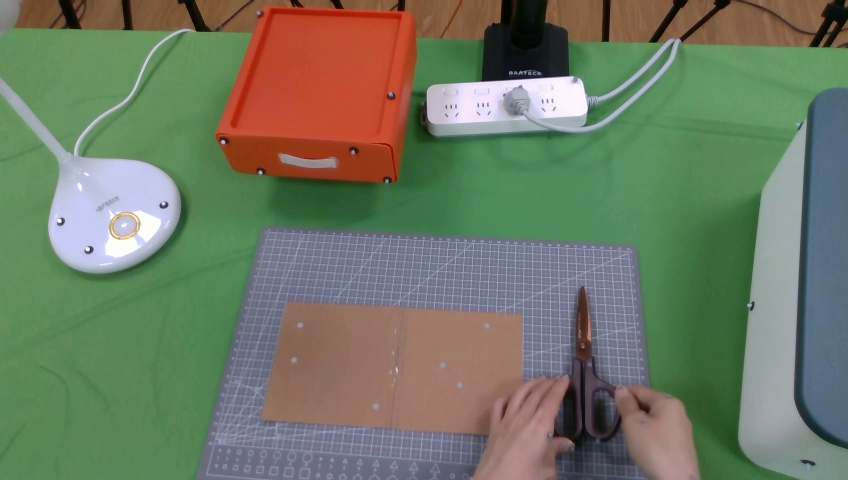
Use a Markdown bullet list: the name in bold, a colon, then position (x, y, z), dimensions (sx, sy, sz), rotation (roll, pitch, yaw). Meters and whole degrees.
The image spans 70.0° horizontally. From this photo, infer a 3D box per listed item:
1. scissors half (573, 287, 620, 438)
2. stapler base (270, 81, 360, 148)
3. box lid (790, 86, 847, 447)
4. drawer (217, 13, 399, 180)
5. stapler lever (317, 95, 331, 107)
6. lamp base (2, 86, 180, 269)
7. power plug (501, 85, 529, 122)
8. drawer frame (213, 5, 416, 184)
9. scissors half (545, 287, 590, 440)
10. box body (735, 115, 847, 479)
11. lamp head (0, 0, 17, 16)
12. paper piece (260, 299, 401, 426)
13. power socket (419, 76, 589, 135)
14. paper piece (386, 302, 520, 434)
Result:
- **scissors half**: position (0.174, 0.120, 0.628), dimensions (0.040, 0.013, 0.173), rotation (-19, 46, 22)
- **stapler base**: position (-0.138, -0.159, 0.747), dimensions (0.129, 0.024, 0.041), rotation (32, 83, 22)
- **box lid**: position (0.455, 0.026, 0.510), dimensions (0.262, 0.015, 0.369), rotation (16, 62, 11)
- **drawer**: position (-0.121, -0.179, 0.737), dimensions (0.194, 0.074, 0.210), rotation (4, 60, 6)
- **stapler lever**: position (-0.147, -0.167, 0.723), dimensions (0.117, 0.040, 0.027), rotation (31, 83, 23)
- **lamp base**: position (-0.397, -0.080, 0.688), dimensions (0.178, 0.182, 0.160), rotation (33, 67, 23)
- **power plug**: position (0.114, -0.165, 0.770), dimensions (0.035, 0.053, 0.072), rotation (7, 61, 7)
- **drawer frame**: position (-0.123, -0.181, 0.738), dimensions (0.201, 0.083, 0.212), rotation (4, 60, 6)
- **scissors half**: position (0.157, 0.124, 0.639), dimensions (0.040, 0.013, 0.174), rotation (-7, 51, 38)
- **box body**: position (0.459, 0.062, 0.575), dimensions (0.253, 0.162, 0.362), rotation (15, 63, 11)
- **lamp head**: position (-0.363, -0.216, 0.430), dimensions (0.124, 0.112, 0.112), rotation (43, 65, -18)
- **paper piece**: position (-0.098, 0.127, 0.654), dimensions (0.136, 0.009, 0.137), rotation (2, 62, 7)
- **power socket**: position (0.105, -0.179, 0.804), dimensions (0.227, 0.033, 0.071), rotation (-2, 61, 1)
- **paper piece**: position (0.034, 0.133, 0.643), dimensions (0.135, 0.004, 0.134), rotation (4, 61, 5)
